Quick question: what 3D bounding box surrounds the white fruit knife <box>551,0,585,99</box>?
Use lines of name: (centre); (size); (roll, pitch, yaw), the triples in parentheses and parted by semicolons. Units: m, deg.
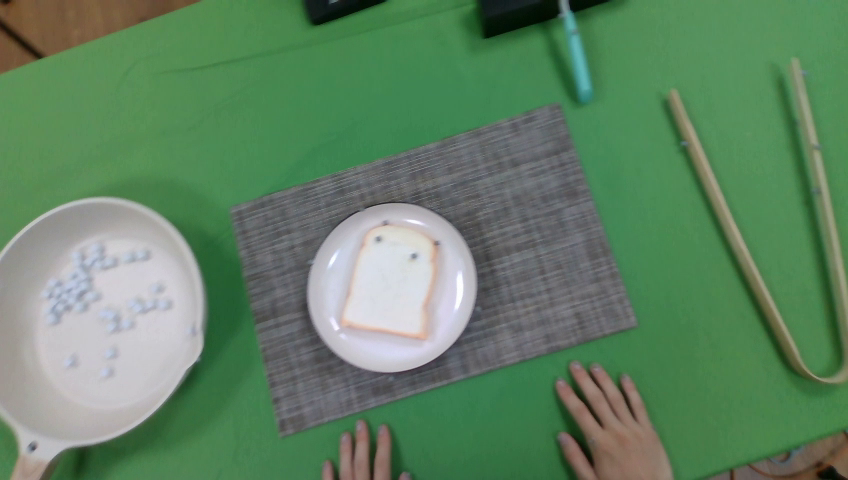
white fruit knife: (0.169, -0.281, 0.761); (0.016, 0.027, 0.207); (-17, 93, 3)

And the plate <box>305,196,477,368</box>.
plate: (-0.039, 0.051, 0.738); (0.207, 0.039, 0.207); (-1, 80, 6)

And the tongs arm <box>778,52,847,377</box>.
tongs arm: (0.445, -0.036, 0.712); (0.051, 0.026, 0.383); (-9, 80, 5)

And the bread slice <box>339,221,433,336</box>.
bread slice: (-0.043, 0.044, 0.742); (0.107, 0.018, 0.134); (6, 82, 6)

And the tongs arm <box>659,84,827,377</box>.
tongs arm: (0.368, -0.017, 0.720); (0.028, 0.028, 0.385); (-21, 79, -1)

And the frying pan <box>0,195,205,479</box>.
frying pan: (-0.433, 0.187, 0.721); (0.306, 0.103, 0.485); (15, 73, 9)
